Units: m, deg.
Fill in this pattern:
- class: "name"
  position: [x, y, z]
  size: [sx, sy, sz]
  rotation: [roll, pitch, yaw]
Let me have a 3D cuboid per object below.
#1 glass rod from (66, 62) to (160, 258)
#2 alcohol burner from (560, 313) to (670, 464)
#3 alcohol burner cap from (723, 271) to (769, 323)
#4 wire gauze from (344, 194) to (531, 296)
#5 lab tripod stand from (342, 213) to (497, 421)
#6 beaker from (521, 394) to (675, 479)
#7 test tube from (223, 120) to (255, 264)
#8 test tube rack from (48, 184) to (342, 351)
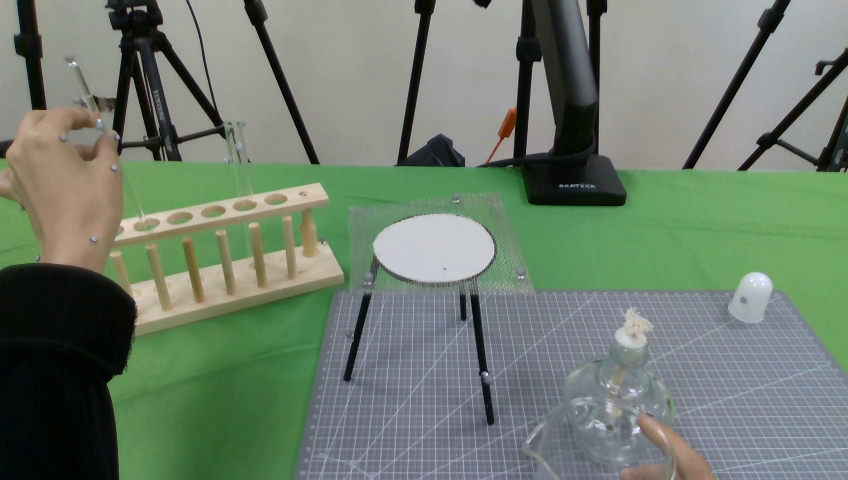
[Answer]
- class: "glass rod"
  position: [-0.250, -0.053, 0.497]
  size: [0.008, 0.201, 0.008]
  rotation: [0, 45, 0]
- class: "alcohol burner"
  position: [0.138, 0.101, 0.430]
  size: [0.078, 0.120, 0.077]
  rotation: [0, 33, 0]
- class: "alcohol burner cap"
  position: [0.304, 0.051, 0.569]
  size: [0.034, 0.048, 0.033]
  rotation: [1, 34, 0]
- class: "wire gauze"
  position: [0.004, 0.002, 0.437]
  size: [0.125, 0.011, 0.120]
  rotation: [-4, 34, -4]
- class: "lab tripod stand"
  position: [0.004, 0.057, 0.476]
  size: [0.148, 0.132, 0.147]
  rotation: [0, 36, 1]
- class: "beaker"
  position: [0.097, 0.155, 0.364]
  size: [0.084, 0.101, 0.073]
  rotation: [3, 34, 5]
- class: "test tube"
  position: [-0.173, -0.041, 0.577]
  size: [0.017, 0.151, 0.017]
  rotation: [1, 32, 0]
- class: "test tube rack"
  position: [-0.207, 0.020, 0.575]
  size: [0.243, 0.086, 0.066]
  rotation: [-14, 37, -20]
